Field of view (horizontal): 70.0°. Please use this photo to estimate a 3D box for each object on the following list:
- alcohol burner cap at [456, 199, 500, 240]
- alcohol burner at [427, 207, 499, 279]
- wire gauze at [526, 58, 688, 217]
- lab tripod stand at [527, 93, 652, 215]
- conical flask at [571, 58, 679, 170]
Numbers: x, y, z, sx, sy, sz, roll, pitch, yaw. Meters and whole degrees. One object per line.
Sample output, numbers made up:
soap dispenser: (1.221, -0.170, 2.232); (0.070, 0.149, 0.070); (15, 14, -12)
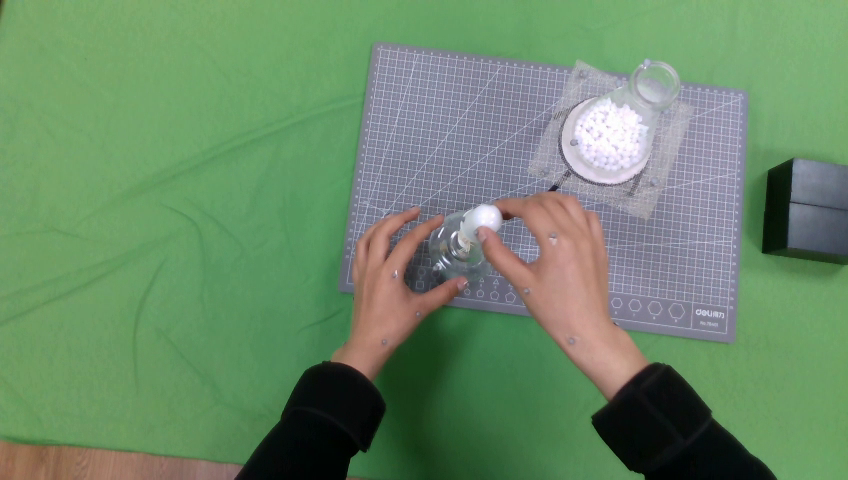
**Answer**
alcohol burner cap: (0.050, -0.020, 0.538); (0.034, 0.048, 0.033); (2, 81, -11)
alcohol burner: (0.041, 0.001, 0.633); (0.078, 0.119, 0.077); (0, 84, 0)
wire gauze: (0.175, -0.098, 0.572); (0.121, 0.011, 0.125); (25, 80, 1)
lab tripod stand: (0.169, -0.091, 0.638); (0.148, 0.132, 0.148); (0, 81, 1)
conical flask: (0.175, -0.110, 0.515); (0.075, 0.122, 0.075); (0, 81, 0)
